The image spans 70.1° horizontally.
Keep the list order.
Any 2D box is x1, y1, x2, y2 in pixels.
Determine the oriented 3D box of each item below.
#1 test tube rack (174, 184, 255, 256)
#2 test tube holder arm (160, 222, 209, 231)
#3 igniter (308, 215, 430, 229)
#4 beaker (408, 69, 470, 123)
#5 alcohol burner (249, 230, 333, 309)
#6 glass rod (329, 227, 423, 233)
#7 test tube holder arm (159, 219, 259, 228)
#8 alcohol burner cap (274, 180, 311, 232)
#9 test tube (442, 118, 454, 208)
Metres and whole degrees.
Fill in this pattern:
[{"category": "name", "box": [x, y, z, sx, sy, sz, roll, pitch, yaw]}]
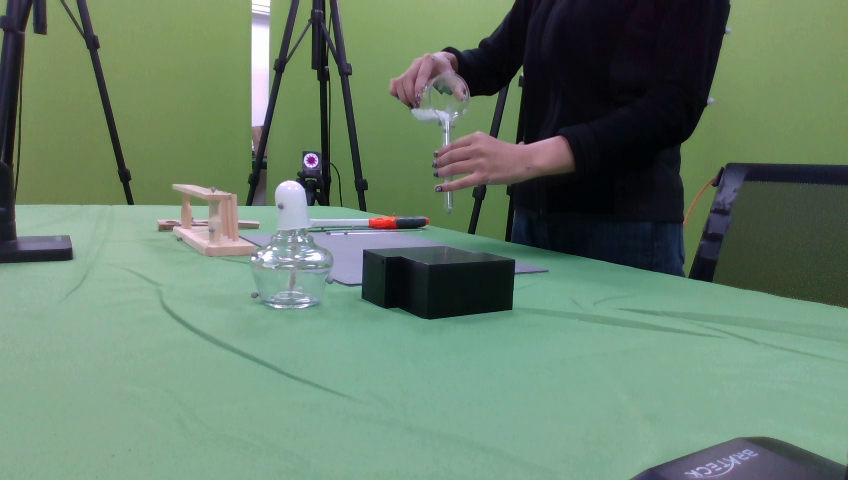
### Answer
[{"category": "test tube rack", "box": [-0.327, -0.036, 0.928, 0.067, 0.085, 0.241, -2, 9, -32]}, {"category": "test tube holder arm", "box": [-0.423, -0.024, 1.076, 0.088, 0.015, 0.010, -2, 45, -38]}, {"category": "igniter", "box": [-0.109, -0.037, 1.228, 0.278, 0.025, 0.057, -3, -1, -35]}, {"category": "beaker", "box": [0.021, -0.233, 1.003, 0.074, 0.084, 0.100, 2, 5, -24]}, {"category": "alcohol burner", "box": [-0.125, 0.004, 0.568, 0.078, 0.119, 0.078, 2, 9, 0]}, {"category": "glass rod", "box": [-0.087, -0.020, 1.148, 0.201, 0.008, 0.008, -3, 8, -32]}, {"category": "test tube holder arm", "box": [-0.390, -0.030, 1.107, 0.179, 0.015, 0.013, -3, 45, -39]}, {"category": "alcohol burner cap", "box": [-0.125, -0.032, 0.563, 0.034, 0.048, 0.034, -5, 6, 1]}, {"category": "test tube", "box": [0.037, -0.121, 0.942, 0.017, 0.150, 0.017, -1, -18, 0]}]
